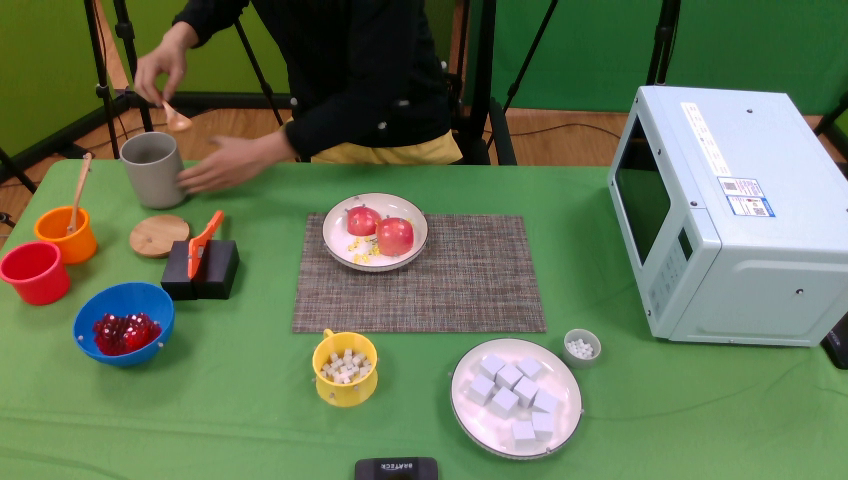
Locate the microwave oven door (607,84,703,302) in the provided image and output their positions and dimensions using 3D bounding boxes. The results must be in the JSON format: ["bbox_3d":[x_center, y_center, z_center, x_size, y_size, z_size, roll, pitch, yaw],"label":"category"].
[{"bbox_3d":[0.423,-0.096,1.138,0.039,0.245,0.353,3,46,-1],"label":"microwave oven door"}]

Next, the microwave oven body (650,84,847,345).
[{"bbox_3d":[0.569,-0.054,1.116,0.326,0.261,0.439,2,46,-1],"label":"microwave oven body"}]

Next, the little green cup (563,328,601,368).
[{"bbox_3d":[0.265,0.185,1.025,0.061,0.039,0.061,1,45,-1],"label":"little green cup"}]

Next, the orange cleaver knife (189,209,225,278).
[{"bbox_3d":[-0.401,0.002,1.122,0.012,0.077,0.210,5,22,-5],"label":"orange cleaver knife"}]

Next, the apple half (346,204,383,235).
[{"bbox_3d":[-0.119,-0.049,1.207,0.081,0.033,0.081,2,49,-2],"label":"apple half"}]

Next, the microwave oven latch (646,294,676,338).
[{"bbox_3d":[0.413,0.133,1.061,0.030,0.029,0.078,4,46,1],"label":"microwave oven latch"}]

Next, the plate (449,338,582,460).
[{"bbox_3d":[0.141,0.251,0.956,0.208,0.039,0.206,2,46,-2],"label":"plate"}]

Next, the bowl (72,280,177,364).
[{"bbox_3d":[-0.473,0.147,0.982,0.151,0.077,0.150,2,46,-2],"label":"bowl"}]

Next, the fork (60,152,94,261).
[{"bbox_3d":[-0.638,-0.063,1.119,0.028,0.018,0.207,12,90,8],"label":"fork"}]

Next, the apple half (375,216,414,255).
[{"bbox_3d":[-0.056,-0.017,1.169,0.075,0.053,0.080,0,45,-7],"label":"apple half"}]

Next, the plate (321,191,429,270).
[{"bbox_3d":[-0.094,-0.015,1.185,0.209,0.038,0.208,2,46,-2],"label":"plate"}]

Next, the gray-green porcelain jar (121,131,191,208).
[{"bbox_3d":[-0.531,-0.136,1.213,0.106,0.127,0.105,2,46,-2],"label":"gray-green porcelain jar"}]

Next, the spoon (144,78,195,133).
[{"bbox_3d":[-0.484,-0.257,1.141,0.041,0.022,0.192,-30,62,-23],"label":"spoon"}]

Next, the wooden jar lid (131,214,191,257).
[{"bbox_3d":[-0.504,-0.007,1.167,0.108,0.021,0.107,3,46,-3],"label":"wooden jar lid"}]

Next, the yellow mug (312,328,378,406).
[{"bbox_3d":[-0.132,0.193,0.971,0.100,0.064,0.130,-22,51,-22],"label":"yellow mug"}]
